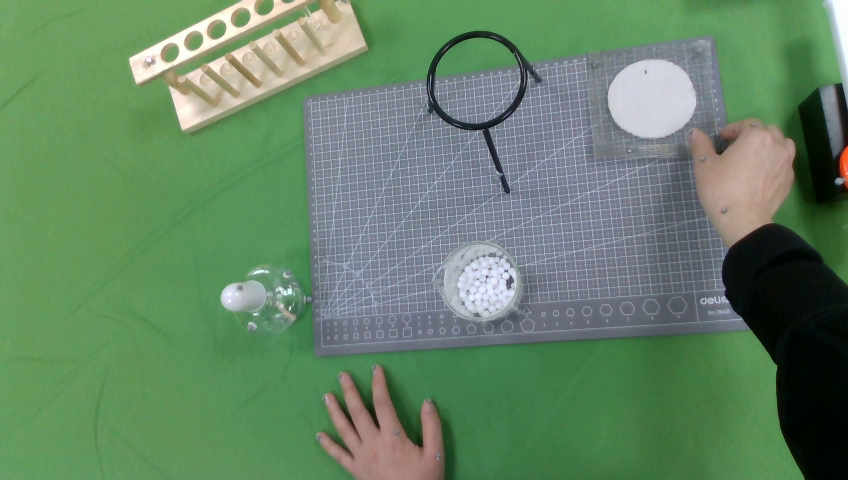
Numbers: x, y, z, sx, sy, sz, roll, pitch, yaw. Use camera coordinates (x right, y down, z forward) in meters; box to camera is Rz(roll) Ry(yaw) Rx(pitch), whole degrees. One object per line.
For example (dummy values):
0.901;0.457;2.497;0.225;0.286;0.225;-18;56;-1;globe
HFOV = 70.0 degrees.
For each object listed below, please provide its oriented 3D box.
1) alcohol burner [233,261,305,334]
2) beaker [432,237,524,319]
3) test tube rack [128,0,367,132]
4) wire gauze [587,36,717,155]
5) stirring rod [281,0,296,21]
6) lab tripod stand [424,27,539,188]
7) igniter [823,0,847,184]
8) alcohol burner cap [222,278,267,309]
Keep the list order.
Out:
-0.172;0.059;0.633;0.078;0.120;0.077;-2;81;11;alcohol burner
0.058;0.041;0.591;0.084;0.101;0.074;1;83;13;beaker
-0.196;-0.211;0.683;0.242;0.085;0.066;-23;79;8;test tube rack
0.233;-0.146;0.622;0.125;0.011;0.121;-1;83;9;wire gauze
-0.161;-0.275;0.603;0.006;0.177;0.014;-21;73;3;stirring rod
0.060;-0.133;0.593;0.148;0.132;0.148;-1;84;10;lab tripod stand
0.391;-0.095;0.528;0.057;0.025;0.275;-6;80;14;igniter
-0.181;0.054;0.598;0.034;0.048;0.034;-1;86;11;alcohol burner cap
